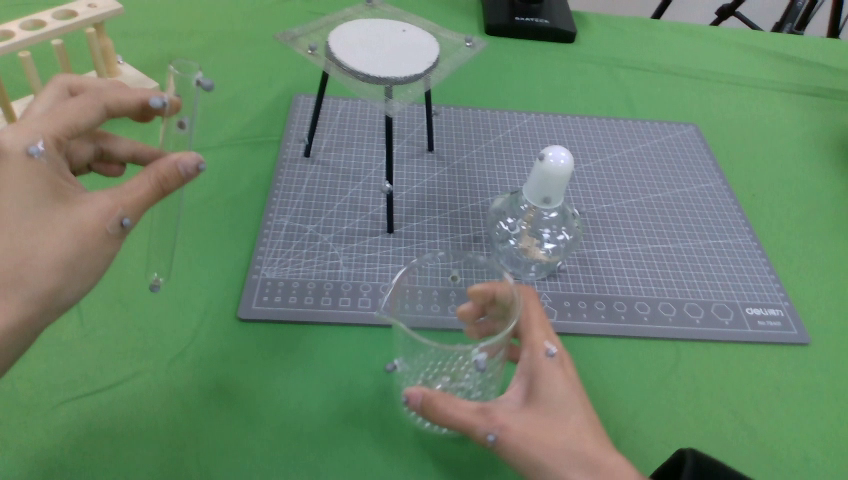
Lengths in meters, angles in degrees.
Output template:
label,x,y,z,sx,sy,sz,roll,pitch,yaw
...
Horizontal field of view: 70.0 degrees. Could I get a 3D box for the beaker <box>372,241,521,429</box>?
label,x,y,z,sx,sy,sz,roll,pitch,yaw
beaker,0.011,0.062,0.369,0.084,0.101,0.073,-8,45,-12

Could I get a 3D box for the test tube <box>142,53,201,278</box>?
label,x,y,z,sx,sy,sz,roll,pitch,yaw
test tube,-0.141,-0.033,0.334,0.017,0.151,0.017,17,38,-13

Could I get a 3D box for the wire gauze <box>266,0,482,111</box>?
label,x,y,z,sx,sy,sz,roll,pitch,yaw
wire gauze,-0.036,-0.155,0.468,0.124,0.011,0.121,34,52,20

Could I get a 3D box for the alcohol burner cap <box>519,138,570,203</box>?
label,x,y,z,sx,sy,sz,roll,pitch,yaw
alcohol burner cap,0.091,-0.053,0.448,0.034,0.048,0.033,4,51,-4

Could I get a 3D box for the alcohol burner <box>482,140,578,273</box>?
label,x,y,z,sx,sy,sz,roll,pitch,yaw
alcohol burner,0.087,-0.030,0.475,0.078,0.120,0.077,5,45,-5

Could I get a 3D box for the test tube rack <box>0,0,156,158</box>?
label,x,y,z,sx,sy,sz,roll,pitch,yaw
test tube rack,-0.369,-0.136,0.531,0.066,0.086,0.242,33,51,21

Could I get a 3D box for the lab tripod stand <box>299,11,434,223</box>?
label,x,y,z,sx,sy,sz,roll,pitch,yaw
lab tripod stand,-0.041,-0.110,0.517,0.148,0.132,0.147,5,48,-6
